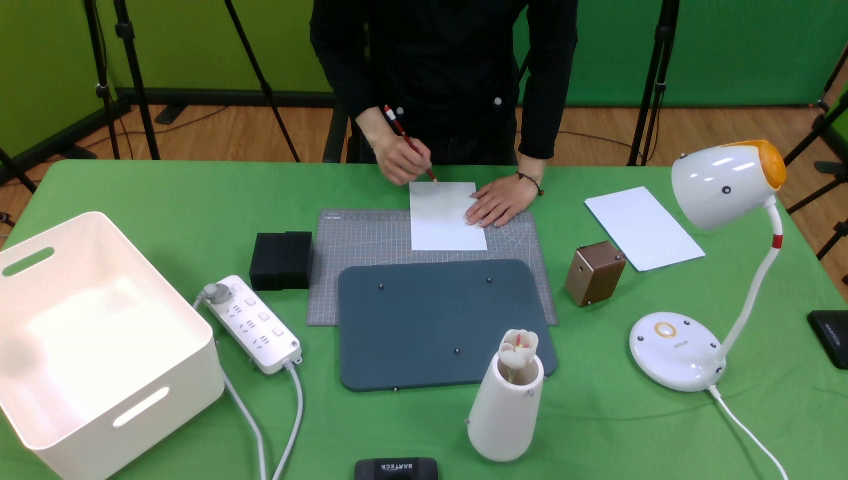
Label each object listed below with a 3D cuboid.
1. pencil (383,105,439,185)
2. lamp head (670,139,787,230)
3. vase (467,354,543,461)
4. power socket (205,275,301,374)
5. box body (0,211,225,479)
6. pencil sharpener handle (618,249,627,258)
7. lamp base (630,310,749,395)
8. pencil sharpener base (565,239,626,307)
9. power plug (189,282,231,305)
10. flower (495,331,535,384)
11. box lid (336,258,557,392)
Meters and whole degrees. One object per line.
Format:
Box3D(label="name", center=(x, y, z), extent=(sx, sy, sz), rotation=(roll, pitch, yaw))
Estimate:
Box3D(label="pencil", center=(-0.024, -0.189, 1.223), extent=(0.012, 0.194, 0.012), rotation=(-33, 17, 11))
Box3D(label="lamp head", center=(0.415, -0.079, 0.812), extent=(0.113, 0.123, 0.112), rotation=(13, 70, -37))
Box3D(label="vase", center=(0.116, 0.234, 0.861), extent=(0.098, 0.201, 0.097), rotation=(1, 47, -1))
Box3D(label="power socket", center=(-0.296, 0.140, 1.035), extent=(0.072, 0.033, 0.225), rotation=(-32, 57, -29))
Box3D(label="box body", center=(-0.504, 0.154, 0.916), extent=(0.362, 0.161, 0.254), rotation=(36, 54, 27))
Box3D(label="pencil sharpener handle", center=(0.359, 0.036, 1.113), extent=(0.031, 0.068, 0.036), rotation=(-15, 61, -18))
Box3D(label="lamp base", center=(0.447, 0.142, 0.984), extent=(0.161, 0.181, 0.178), rotation=(-24, 55, -24))
Box3D(label="pencil sharpener base", center=(0.313, 0.060, 1.104), extent=(0.077, 0.107, 0.061), rotation=(-15, 49, -18))
Box3D(label="power plug", center=(-0.368, 0.097, 1.039), extent=(0.072, 0.053, 0.035), rotation=(-26, 55, -20))
Box3D(label="flower", center=(0.110, 0.187, 0.791), extent=(0.044, 0.363, 0.038), rotation=(-32, 65, -10))
Box3D(label="box lid", center=(0.030, 0.140, 1.073), extent=(0.372, 0.015, 0.261), rotation=(-3, 47, -7))
